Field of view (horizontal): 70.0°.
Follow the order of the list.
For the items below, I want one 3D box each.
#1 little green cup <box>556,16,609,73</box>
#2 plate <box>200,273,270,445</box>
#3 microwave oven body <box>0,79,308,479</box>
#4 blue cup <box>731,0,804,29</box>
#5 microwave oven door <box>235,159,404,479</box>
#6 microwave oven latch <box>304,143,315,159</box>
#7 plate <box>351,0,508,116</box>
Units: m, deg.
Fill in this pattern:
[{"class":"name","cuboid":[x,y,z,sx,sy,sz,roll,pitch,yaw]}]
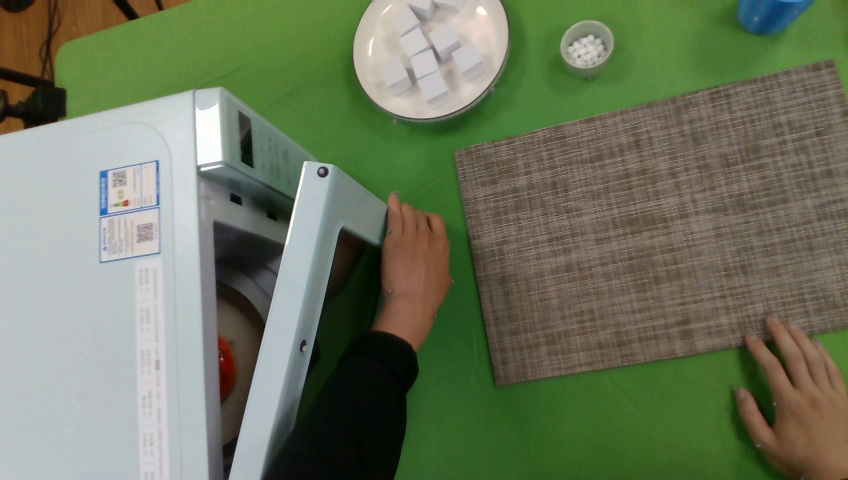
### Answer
[{"class":"little green cup","cuboid":[0.195,-0.238,0.745,0.061,0.039,0.061,-2,81,13]},{"class":"plate","cuboid":[-0.274,0.143,0.730,0.209,0.038,0.208,-2,82,12]},{"class":"microwave oven body","cuboid":[-0.301,0.097,0.691,0.325,0.261,0.440,-9,80,11]},{"class":"blue cup","cuboid":[0.388,-0.286,0.675,0.092,0.101,0.092,-2,83,12]},{"class":"microwave oven door","cuboid":[-0.102,0.116,0.637,0.039,0.245,0.355,10,84,15]},{"class":"microwave oven latch","cuboid":[-0.156,-0.083,0.784,0.030,0.029,0.079,-5,81,12]},{"class":"plate","cuboid":[0.008,-0.258,0.792,0.207,0.039,0.207,-2,81,13]}]
